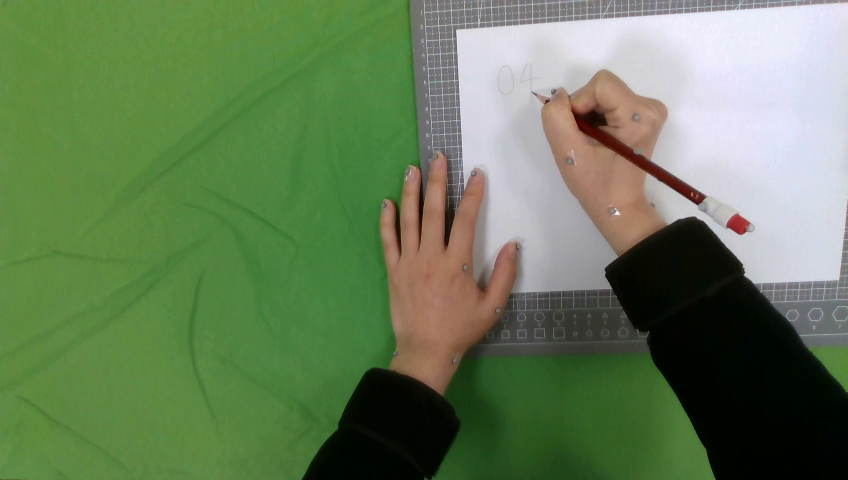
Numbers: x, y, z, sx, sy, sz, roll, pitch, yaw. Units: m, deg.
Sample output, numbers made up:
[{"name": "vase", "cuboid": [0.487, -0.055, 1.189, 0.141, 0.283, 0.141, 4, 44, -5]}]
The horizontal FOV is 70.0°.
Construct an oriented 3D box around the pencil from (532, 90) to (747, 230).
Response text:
[{"name": "pencil", "cuboid": [0.130, -0.062, 0.402, 0.012, 0.192, 0.012, -20, 134, -22]}]
